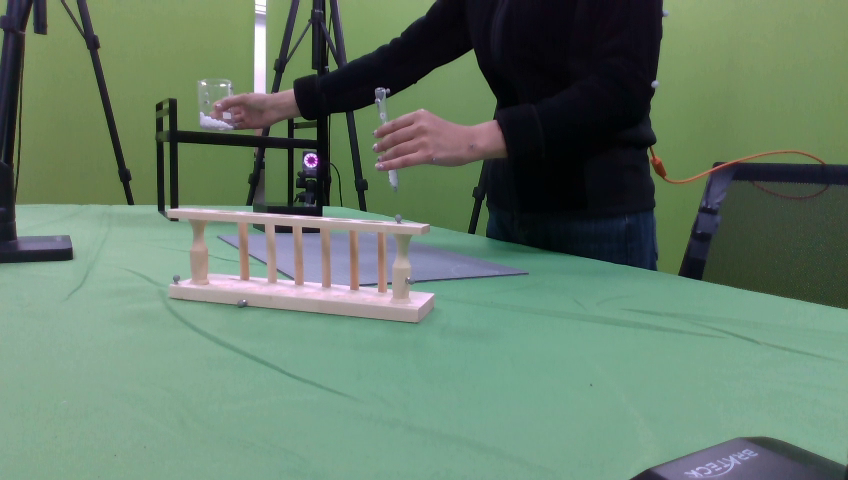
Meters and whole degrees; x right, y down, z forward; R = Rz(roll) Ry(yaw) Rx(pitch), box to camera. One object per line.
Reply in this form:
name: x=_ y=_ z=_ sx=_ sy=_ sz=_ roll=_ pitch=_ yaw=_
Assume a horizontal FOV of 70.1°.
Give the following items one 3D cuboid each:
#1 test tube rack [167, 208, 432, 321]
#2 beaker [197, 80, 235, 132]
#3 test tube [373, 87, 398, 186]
test tube rack: x=-0.116 y=0.017 z=0.574 sx=0.242 sy=0.085 sz=0.067 roll=4 pitch=8 yaw=13
beaker: x=-0.437 y=-0.280 z=1.270 sx=0.074 sy=0.100 sz=0.084 roll=1 pitch=7 yaw=23
test tube: x=-0.058 y=-0.155 z=0.905 sx=0.017 sy=0.150 sz=0.017 roll=-9 pitch=-2 yaw=0
